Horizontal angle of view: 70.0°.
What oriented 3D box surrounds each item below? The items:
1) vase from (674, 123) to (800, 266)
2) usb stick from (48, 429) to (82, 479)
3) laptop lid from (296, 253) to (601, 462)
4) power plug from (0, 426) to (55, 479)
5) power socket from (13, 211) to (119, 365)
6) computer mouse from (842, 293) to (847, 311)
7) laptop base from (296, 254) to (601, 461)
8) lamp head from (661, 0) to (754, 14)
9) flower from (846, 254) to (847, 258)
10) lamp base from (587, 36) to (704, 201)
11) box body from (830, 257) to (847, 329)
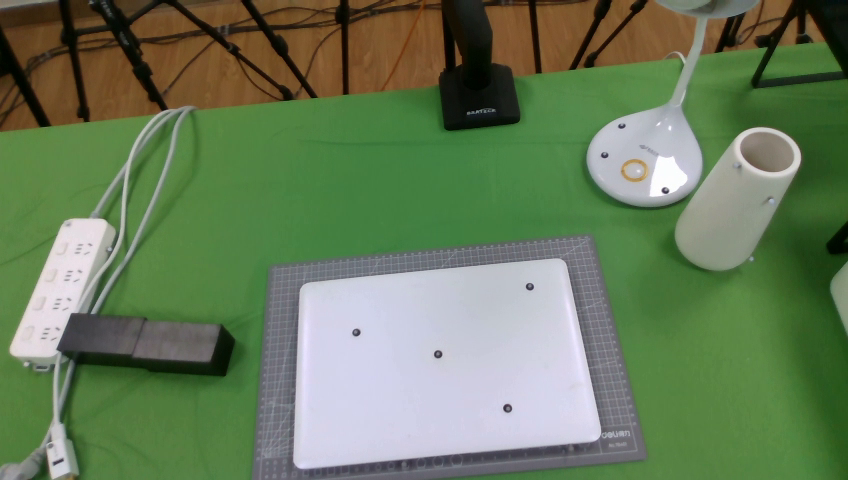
[{"bbox_3d":[0.371,-0.051,0.729,0.098,0.202,0.097,-3,59,5],"label":"vase"},{"bbox_3d":[-0.420,0.255,0.711,0.021,0.027,0.058,-21,68,-19],"label":"usb stick"},{"bbox_3d":[0.019,0.135,0.740,0.357,0.013,0.239,-4,62,2],"label":"laptop lid"},{"bbox_3d":[-0.473,0.260,0.719,0.052,0.035,0.072,-13,20,21],"label":"power plug"},{"bbox_3d":[-0.485,0.057,0.827,0.072,0.033,0.225,2,60,5],"label":"power socket"},{"bbox_3d":[0.552,0.102,0.713,0.063,0.041,0.116,-11,52,3],"label":"computer mouse"},{"bbox_3d":[0.020,0.138,0.751,0.354,0.023,0.233,-6,63,1],"label":"laptop base"},{"bbox_3d":[0.260,-0.279,0.534,0.112,0.113,0.122,22,82,16],"label":"lamp head"},{"bbox_3d":[0.555,0.175,0.655,0.044,0.038,0.359,9,60,-43],"label":"flower"},{"bbox_3d":[0.318,-0.172,0.814,0.160,0.182,0.178,25,62,17],"label":"lamp base"},{"bbox_3d":[0.628,0.142,0.620,0.254,0.162,0.360,-5,60,2],"label":"box body"}]
